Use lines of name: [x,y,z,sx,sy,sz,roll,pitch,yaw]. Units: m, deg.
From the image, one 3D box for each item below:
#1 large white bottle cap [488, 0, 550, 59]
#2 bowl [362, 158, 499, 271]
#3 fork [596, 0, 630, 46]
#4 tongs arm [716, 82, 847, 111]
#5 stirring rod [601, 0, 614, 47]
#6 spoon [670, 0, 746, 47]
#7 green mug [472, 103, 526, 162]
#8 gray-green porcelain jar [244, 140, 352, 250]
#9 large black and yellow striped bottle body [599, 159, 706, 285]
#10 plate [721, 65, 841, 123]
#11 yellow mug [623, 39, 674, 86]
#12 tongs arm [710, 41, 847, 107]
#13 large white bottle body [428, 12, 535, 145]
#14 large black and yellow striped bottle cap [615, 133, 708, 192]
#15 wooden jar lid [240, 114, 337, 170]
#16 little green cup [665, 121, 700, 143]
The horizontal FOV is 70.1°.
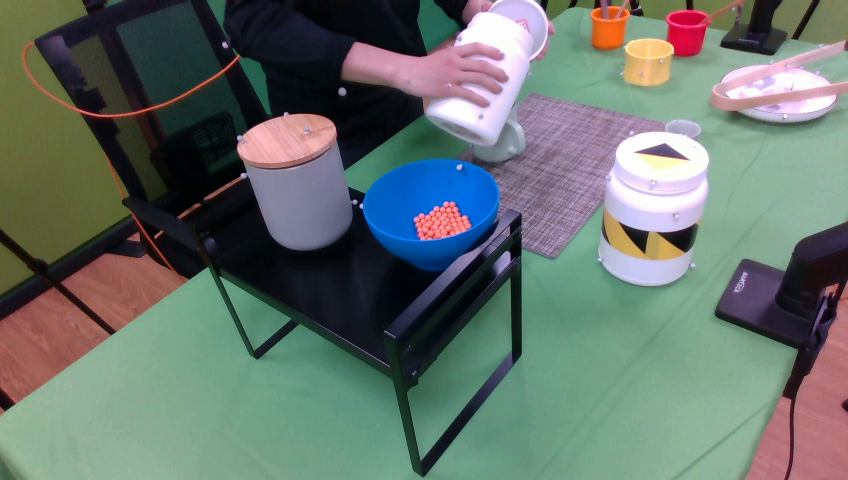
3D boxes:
large white bottle cap: [0.160,-0.365,1.047,0.114,0.115,0.018,6,41,15]
bowl: [0.011,-0.019,0.679,0.151,0.077,0.150,-5,41,5]
fork: [0.481,-0.556,1.453,0.028,0.019,0.207,40,103,38]
tongs arm: [0.738,-0.282,1.134,0.388,0.028,0.028,-9,47,-5]
stirring rod: [0.439,-0.551,1.463,0.014,0.006,0.175,-7,83,3]
spoon: [0.629,-0.485,1.350,0.022,0.193,0.042,47,54,-8]
green mug: [0.144,-0.201,1.122,0.093,0.105,0.124,-29,46,-23]
gray-green porcelain jar: [-0.144,-0.060,0.714,0.106,0.127,0.105,-4,41,4]
large black and yellow striped bottle body: [0.320,-0.042,0.854,0.131,0.185,0.130,-4,41,4]
plate: [0.695,-0.282,1.189,0.207,0.039,0.206,-4,40,4]
yellow mug: [0.484,-0.398,1.334,0.100,0.064,0.130,-18,40,-11]
tongs arm: [0.712,-0.332,1.194,0.386,0.026,0.050,-18,45,-16]
large white bottle body: [0.099,-0.267,1.005,0.129,0.132,0.184,25,92,32]
large black and yellow striped bottle cap: [0.312,-0.105,0.798,0.115,0.019,0.114,-5,41,5]
wooden jar lid: [-0.149,-0.106,0.673,0.108,0.021,0.108,-6,38,5]
little green cup: [0.473,-0.188,1.113,0.061,0.039,0.061,-5,40,5]
